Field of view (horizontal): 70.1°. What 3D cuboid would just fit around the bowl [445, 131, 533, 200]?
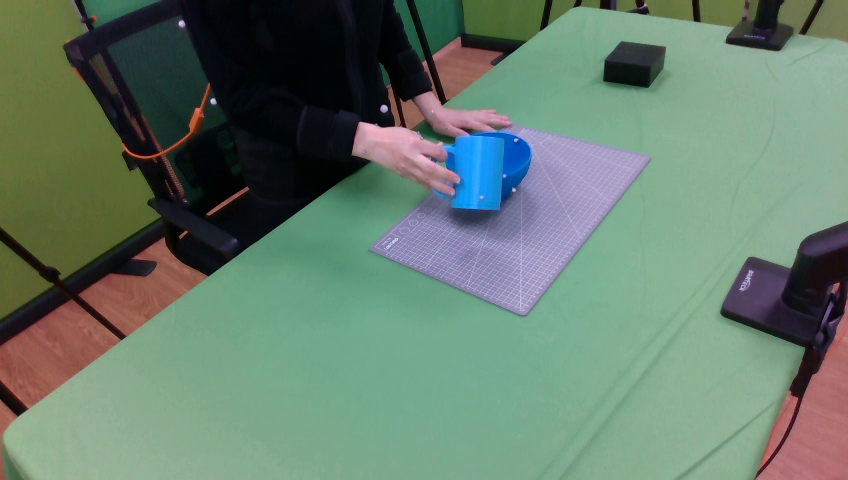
[{"bbox_3d":[0.115,-0.119,1.056,0.151,0.077,0.150,-6,40,5],"label":"bowl"}]

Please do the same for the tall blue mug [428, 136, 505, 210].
[{"bbox_3d":[0.069,-0.102,0.920,0.108,0.108,0.077,0,6,-28],"label":"tall blue mug"}]
